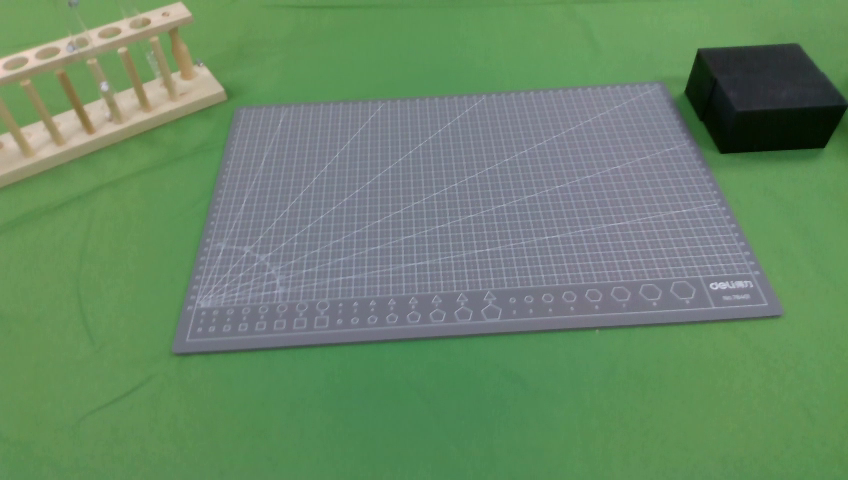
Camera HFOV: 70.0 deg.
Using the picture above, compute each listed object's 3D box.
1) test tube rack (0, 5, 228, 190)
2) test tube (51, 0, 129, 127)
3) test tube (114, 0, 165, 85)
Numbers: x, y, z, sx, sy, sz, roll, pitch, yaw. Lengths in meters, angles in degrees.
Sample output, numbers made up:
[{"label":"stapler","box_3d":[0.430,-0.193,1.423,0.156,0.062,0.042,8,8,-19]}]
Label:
[{"label":"test tube rack","box_3d":[-0.330,-0.142,0.595,0.242,0.086,0.066,-28,53,-21]},{"label":"test tube","box_3d":[-0.308,-0.168,0.557,0.017,0.152,0.017,-1,48,1]},{"label":"test tube","box_3d":[-0.284,-0.215,0.590,0.017,0.151,0.017,-3,51,4]}]
